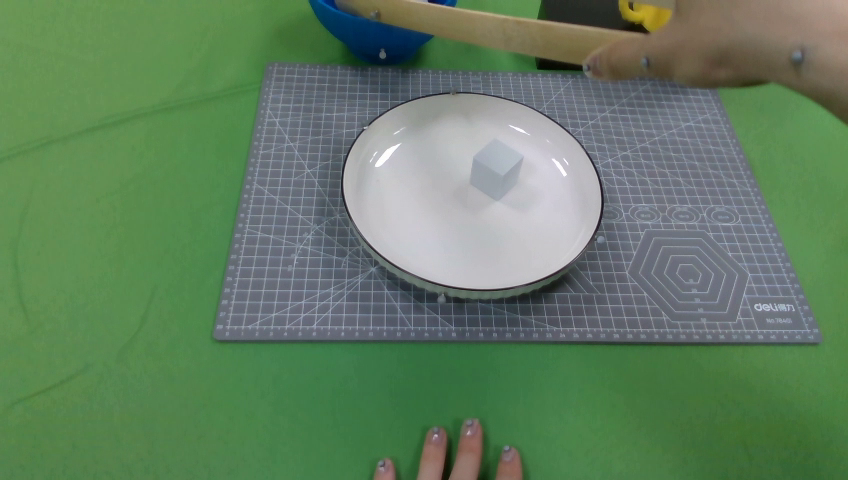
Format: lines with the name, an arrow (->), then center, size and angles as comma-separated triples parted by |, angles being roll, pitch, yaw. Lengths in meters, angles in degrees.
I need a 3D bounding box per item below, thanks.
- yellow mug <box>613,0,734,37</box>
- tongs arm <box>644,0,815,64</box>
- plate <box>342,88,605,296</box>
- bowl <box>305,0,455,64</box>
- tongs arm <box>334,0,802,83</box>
yellow mug -> 0.240, -0.239, 0.572 | 0.131, 0.064, 0.099 | -13, 56, -12
tongs arm -> 0.084, -0.183, 0.433 | 0.050, 0.027, 0.380 | -41, 44, -17
plate -> 0.039, -0.040, 0.493 | 0.208, 0.039, 0.205 | 2, 55, -3
bowl -> -0.043, -0.229, 0.597 | 0.151, 0.077, 0.150 | 2, 56, -3
tongs arm -> 0.049, -0.151, 0.420 | 0.028, 0.028, 0.383 | -41, 43, -22
